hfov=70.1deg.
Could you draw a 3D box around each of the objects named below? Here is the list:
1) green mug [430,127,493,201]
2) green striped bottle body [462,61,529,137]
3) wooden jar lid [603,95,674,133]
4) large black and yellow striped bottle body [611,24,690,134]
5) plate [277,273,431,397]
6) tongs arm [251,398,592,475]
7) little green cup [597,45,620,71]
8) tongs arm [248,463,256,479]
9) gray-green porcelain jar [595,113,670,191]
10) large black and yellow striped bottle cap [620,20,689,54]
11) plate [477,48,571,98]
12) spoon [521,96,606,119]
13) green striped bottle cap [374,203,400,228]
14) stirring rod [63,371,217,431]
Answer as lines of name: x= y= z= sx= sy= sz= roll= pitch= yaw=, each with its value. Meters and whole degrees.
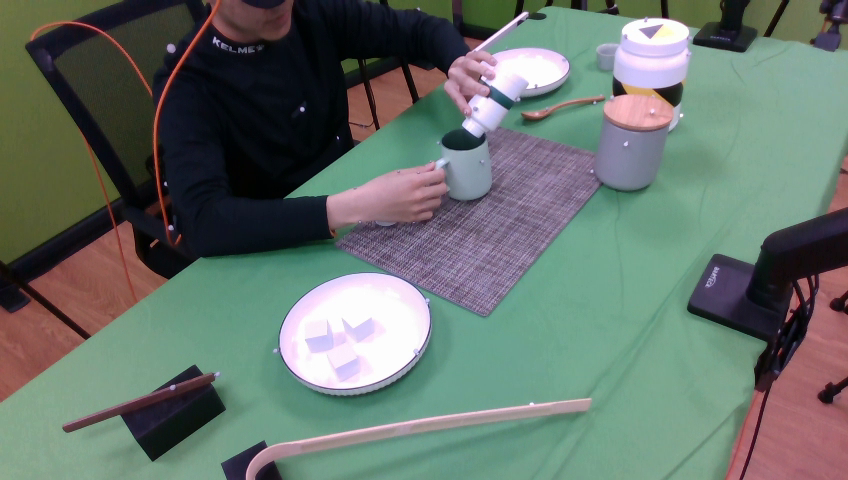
green mug: x=0.059 y=-0.121 z=1.034 sx=0.126 sy=0.105 sz=0.091 roll=-35 pitch=48 yaw=-28
green striped bottle body: x=0.113 y=-0.228 z=0.996 sx=0.119 sy=0.064 sz=0.062 roll=-52 pitch=43 yaw=13
wooden jar lid: x=0.343 y=-0.200 z=0.974 sx=0.108 sy=0.021 sz=0.108 roll=-2 pitch=39 yaw=2
large black and yellow striped bottle body: x=0.420 y=-0.299 z=1.132 sx=0.131 sy=0.185 sz=0.130 roll=-5 pitch=40 yaw=4
plate: x=-0.091 y=0.129 z=0.821 sx=0.207 sy=0.039 sz=0.206 roll=-4 pitch=40 yaw=4
tongs arm: x=0.008 y=0.213 z=0.675 sx=0.389 sy=0.028 sz=0.028 roll=-5 pitch=46 yaw=-11
little green cup: x=0.423 y=-0.413 z=1.376 sx=0.061 sy=0.039 sz=0.061 roll=-4 pitch=41 yaw=4
tongs arm: x=0.012 y=0.262 z=0.615 sx=0.385 sy=0.026 sz=0.050 roll=2 pitch=41 yaw=-2
gray-green porcelain jar: x=0.346 y=-0.155 z=1.017 sx=0.106 sy=0.127 sz=0.105 roll=-2 pitch=44 yaw=2
large black and yellow striped bottle cap: x=0.411 y=-0.363 z=1.079 sx=0.115 sy=0.019 sz=0.114 roll=-3 pitch=42 yaw=4
plate: x=0.223 y=-0.371 z=1.357 sx=0.209 sy=0.038 sz=0.208 roll=-4 pitch=41 yaw=4
spoon: x=0.291 y=-0.277 z=1.249 sx=0.194 sy=0.022 sz=0.041 roll=-18 pitch=22 yaw=-11
green striped bottle cap: x=-0.063 y=-0.042 z=1.030 sx=0.044 sy=0.020 sz=0.044 roll=-1 pitch=46 yaw=2
stirring rod: x=-0.337 y=0.192 z=0.723 sx=0.177 sy=0.014 sz=0.005 roll=-18 pitch=42 yaw=-12
